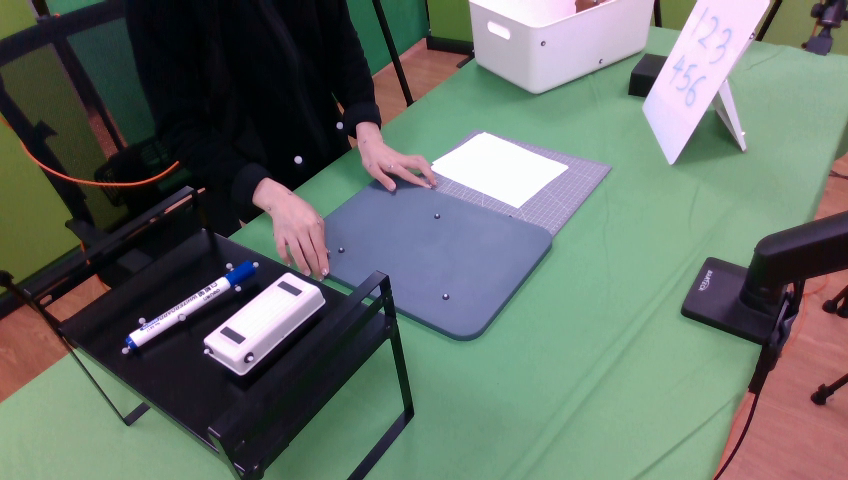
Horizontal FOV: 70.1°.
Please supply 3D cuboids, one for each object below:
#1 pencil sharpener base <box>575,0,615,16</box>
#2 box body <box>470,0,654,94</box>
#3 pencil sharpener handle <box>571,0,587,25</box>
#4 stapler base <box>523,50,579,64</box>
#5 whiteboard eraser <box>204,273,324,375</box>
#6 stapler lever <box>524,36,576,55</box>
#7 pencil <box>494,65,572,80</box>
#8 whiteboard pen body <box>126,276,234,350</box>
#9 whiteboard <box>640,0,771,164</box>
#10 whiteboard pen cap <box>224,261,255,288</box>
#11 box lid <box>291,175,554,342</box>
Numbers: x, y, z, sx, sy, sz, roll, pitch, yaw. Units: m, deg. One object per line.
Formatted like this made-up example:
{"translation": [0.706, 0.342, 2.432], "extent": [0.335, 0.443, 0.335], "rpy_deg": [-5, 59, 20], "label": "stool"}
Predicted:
{"translation": [0.411, -0.536, 1.469], "extent": [0.061, 0.107, 0.076], "rpy_deg": [-31, 45, -26], "label": "pencil sharpener base"}
{"translation": [0.319, -0.498, 1.405], "extent": [0.365, 0.161, 0.252], "rpy_deg": [-26, 43, -21], "label": "box body"}
{"translation": [0.378, -0.568, 1.493], "extent": [0.036, 0.068, 0.030], "rpy_deg": [-31, 45, -26], "label": "pencil sharpener handle"}
{"translation": [0.301, -0.436, 1.434], "extent": [0.130, 0.024, 0.041], "rpy_deg": [5, 40, 17], "label": "stapler base"}
{"translation": [-0.157, 0.084, 0.605], "extent": [0.055, 0.042, 0.113], "rpy_deg": [24, 49, 30], "label": "whiteboard eraser"}
{"translation": [0.296, -0.456, 1.418], "extent": [0.117, 0.040, 0.027], "rpy_deg": [4, 40, 17], "label": "stapler lever"}
{"translation": [0.249, -0.390, 1.398], "extent": [0.192, 0.012, 0.012], "rpy_deg": [18, 46, 28], "label": "pencil"}
{"translation": [-0.251, 0.070, 0.649], "extent": [0.141, 0.017, 0.017], "rpy_deg": [-36, 48, -25], "label": "whiteboard pen body"}
{"translation": [0.543, -0.299, 1.076], "extent": [0.144, 0.305, 0.216], "rpy_deg": [12, 40, -7], "label": "whiteboard"}
{"translation": [-0.207, 0.039, 0.677], "extent": [0.033, 0.018, 0.018], "rpy_deg": [-36, 47, -18], "label": "whiteboard pen cap"}
{"translation": [-0.005, 0.010, 0.970], "extent": [0.368, 0.015, 0.264], "rpy_deg": [22, 49, 29], "label": "box lid"}
